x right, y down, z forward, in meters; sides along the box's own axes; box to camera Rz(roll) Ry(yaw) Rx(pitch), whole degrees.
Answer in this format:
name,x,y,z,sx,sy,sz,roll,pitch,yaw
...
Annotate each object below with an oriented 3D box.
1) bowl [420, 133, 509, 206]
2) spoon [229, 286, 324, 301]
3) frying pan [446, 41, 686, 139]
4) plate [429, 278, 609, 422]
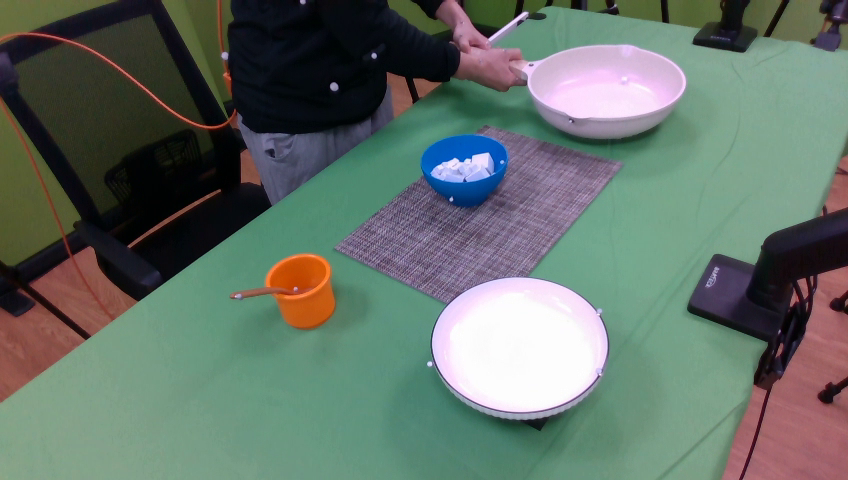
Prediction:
name,x,y,z,sx,sy,sz,roll,pitch,yaw
bowl,0.071,-0.112,1.038,0.151,0.077,0.150,-4,40,4
spoon,-0.197,0.071,0.816,0.041,0.195,0.021,14,89,23
frying pan,0.261,-0.328,1.214,0.485,0.103,0.307,25,49,20
plate,0.111,0.129,0.716,0.207,0.039,0.206,-5,39,4
